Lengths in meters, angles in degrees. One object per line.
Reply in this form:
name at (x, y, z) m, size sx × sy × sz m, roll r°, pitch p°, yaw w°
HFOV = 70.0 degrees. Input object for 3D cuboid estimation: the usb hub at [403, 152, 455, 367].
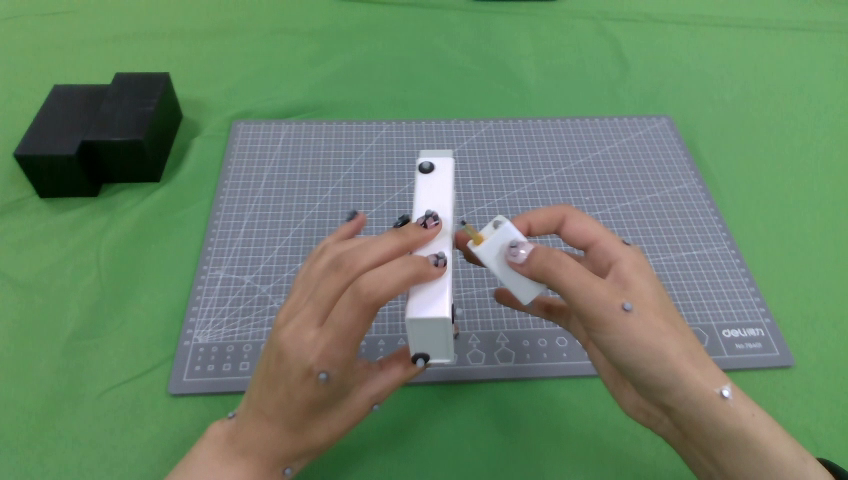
usb hub at (0.005, 0.008, 0.354) m, size 0.025 × 0.050 × 0.124 m, roll -1°, pitch 51°, yaw 4°

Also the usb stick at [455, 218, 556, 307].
usb stick at (0.043, 0.008, 0.332) m, size 0.027 × 0.059 × 0.021 m, roll -47°, pitch 15°, yaw 5°
